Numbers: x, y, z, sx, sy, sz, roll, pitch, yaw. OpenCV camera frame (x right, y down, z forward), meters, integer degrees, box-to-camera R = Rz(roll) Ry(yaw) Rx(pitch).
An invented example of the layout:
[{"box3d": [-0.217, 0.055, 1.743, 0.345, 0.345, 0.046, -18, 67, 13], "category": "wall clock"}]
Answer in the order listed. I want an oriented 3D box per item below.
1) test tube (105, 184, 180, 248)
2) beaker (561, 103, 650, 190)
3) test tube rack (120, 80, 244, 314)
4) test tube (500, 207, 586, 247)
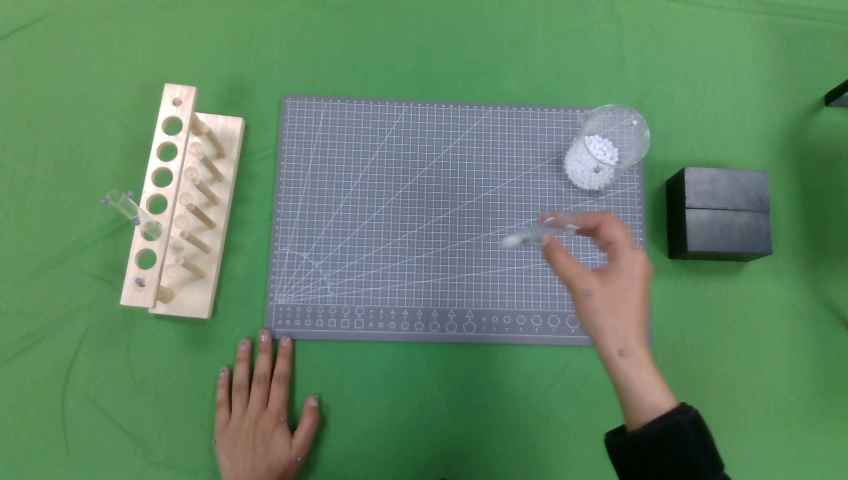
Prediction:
[{"box3d": [-0.283, -0.020, 0.619, 0.017, 0.151, 0.017, 0, 71, -1], "category": "test tube"}, {"box3d": [0.203, -0.106, 0.704, 0.084, 0.100, 0.074, 33, 78, 6], "category": "beaker"}, {"box3d": [-0.263, -0.044, 0.675, 0.067, 0.085, 0.241, 6, 78, -1], "category": "test tube rack"}, {"box3d": [0.103, -0.009, 0.551, 0.017, 0.150, 0.017, 2, 82, -15], "category": "test tube"}]
